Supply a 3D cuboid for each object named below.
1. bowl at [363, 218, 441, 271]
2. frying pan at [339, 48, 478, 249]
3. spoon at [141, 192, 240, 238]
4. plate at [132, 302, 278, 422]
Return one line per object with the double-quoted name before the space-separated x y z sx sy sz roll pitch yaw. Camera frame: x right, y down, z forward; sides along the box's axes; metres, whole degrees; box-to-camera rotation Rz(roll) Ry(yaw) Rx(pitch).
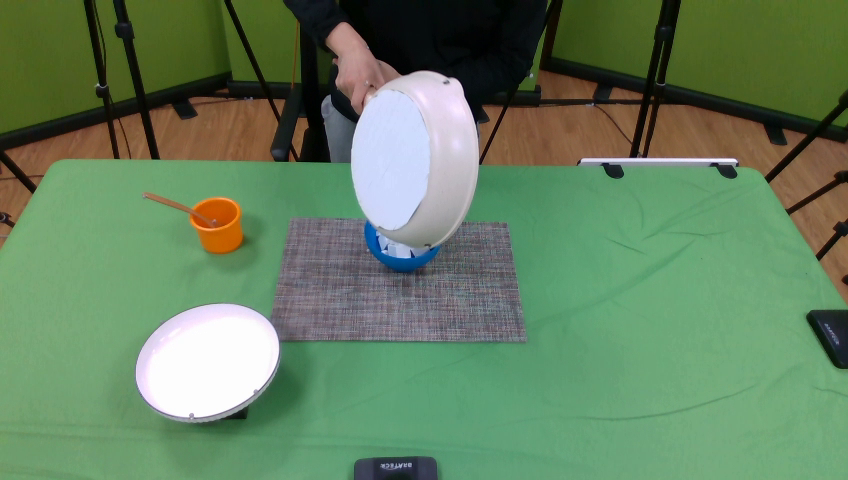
"bowl" -0.041 0.005 1.144 0.151 0.077 0.150 3 46 -3
"frying pan" -0.070 -0.200 1.049 0.103 0.307 0.484 3 41 -32
"spoon" -0.429 -0.048 1.123 0.021 0.195 0.041 -39 44 20
"plate" -0.325 0.186 0.916 0.208 0.039 0.206 3 44 -2
